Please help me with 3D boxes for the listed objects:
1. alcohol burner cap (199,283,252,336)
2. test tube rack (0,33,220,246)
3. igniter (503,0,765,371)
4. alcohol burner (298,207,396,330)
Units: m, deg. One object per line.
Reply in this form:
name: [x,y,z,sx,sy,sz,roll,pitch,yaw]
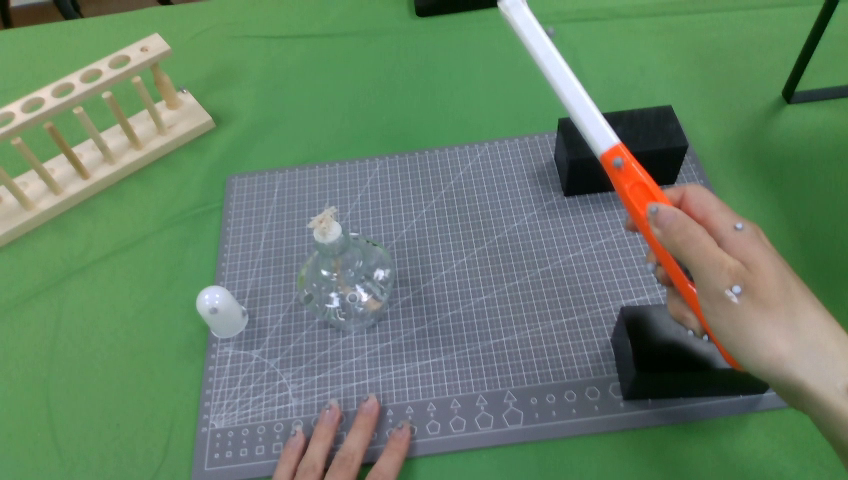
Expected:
alcohol burner cap: [-0.164,0.053,0.494,0.034,0.048,0.033,-3,56,5]
test tube rack: [-0.338,-0.102,0.598,0.242,0.086,0.066,-34,59,-17]
igniter: [0.125,-0.043,0.380,0.025,0.057,0.274,-33,72,15]
alcohol burner: [-0.062,0.018,0.464,0.078,0.120,0.077,-3,53,5]
